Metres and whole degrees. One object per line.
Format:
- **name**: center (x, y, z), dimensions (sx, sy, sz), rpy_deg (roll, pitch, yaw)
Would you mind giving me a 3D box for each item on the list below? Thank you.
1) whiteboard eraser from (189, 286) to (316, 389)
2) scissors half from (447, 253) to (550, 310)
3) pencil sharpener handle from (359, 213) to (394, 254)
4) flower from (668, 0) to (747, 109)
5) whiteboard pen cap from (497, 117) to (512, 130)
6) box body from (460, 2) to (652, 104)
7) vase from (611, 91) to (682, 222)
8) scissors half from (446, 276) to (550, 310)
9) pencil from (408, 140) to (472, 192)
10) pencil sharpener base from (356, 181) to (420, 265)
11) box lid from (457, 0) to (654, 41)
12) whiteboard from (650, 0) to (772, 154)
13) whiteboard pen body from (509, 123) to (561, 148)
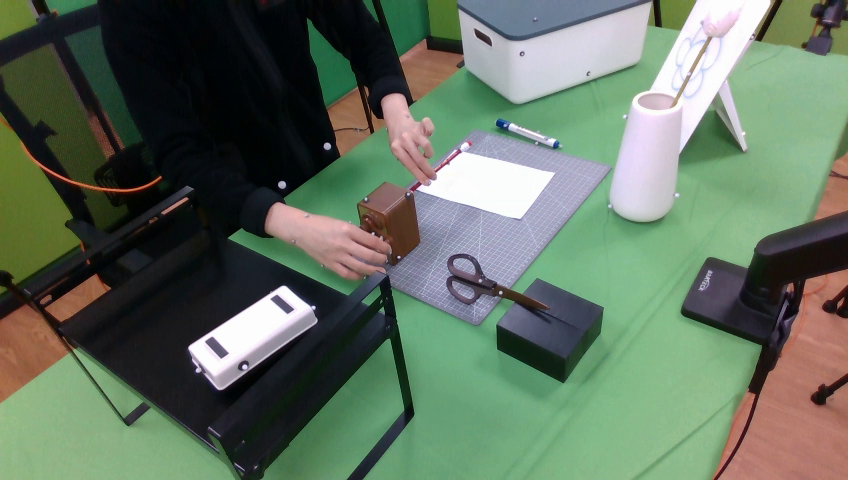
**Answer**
- **whiteboard eraser**: center (-0.166, 0.096, 0.593), dimensions (0.113, 0.042, 0.055), rpy_deg (-36, 47, -29)
- **scissors half**: center (0.098, 0.058, 0.821), dimensions (0.173, 0.040, 0.013), rpy_deg (27, 33, 37)
- **pencil sharpener handle**: center (-0.077, -0.008, 0.890), dimensions (0.067, 0.036, 0.031), rpy_deg (36, 54, 15)
- **flower**: center (0.354, -0.187, 0.879), dimensions (0.038, 0.362, 0.044), rpy_deg (30, 48, 14)
- **whiteboard pen cap**: center (0.165, -0.235, 1.227), dimensions (0.033, 0.018, 0.018), rpy_deg (31, 53, 31)
- **box body**: center (0.291, -0.465, 1.371), dimensions (0.365, 0.161, 0.252), rpy_deg (-22, 42, -16)
- **vase**: center (0.348, -0.125, 0.935), dimensions (0.098, 0.201, 0.097), rpy_deg (-3, 40, 3)
- **scissors half**: center (0.098, 0.077, 0.827), dimensions (0.174, 0.040, 0.013), rpy_deg (6, 14, 44)
- **pencil**: center (0.016, -0.111, 0.982), dimensions (0.012, 0.012, 0.194), rpy_deg (28, 56, 34)
- **pencil sharpener base**: center (-0.056, -0.024, 0.941), dimensions (0.061, 0.107, 0.077), rpy_deg (23, 49, 31)
- **box lid**: center (0.285, -0.522, 1.323), dimensions (0.373, 0.015, 0.261), rpy_deg (-22, 43, -16)
- **whiteboard**: center (0.543, -0.298, 1.076), dimensions (0.144, 0.305, 0.216), rpy_deg (12, 40, -7)
- **whiteboard pen body**: center (0.208, -0.212, 1.195), dimensions (0.139, 0.017, 0.017), rpy_deg (30, 52, 33)
